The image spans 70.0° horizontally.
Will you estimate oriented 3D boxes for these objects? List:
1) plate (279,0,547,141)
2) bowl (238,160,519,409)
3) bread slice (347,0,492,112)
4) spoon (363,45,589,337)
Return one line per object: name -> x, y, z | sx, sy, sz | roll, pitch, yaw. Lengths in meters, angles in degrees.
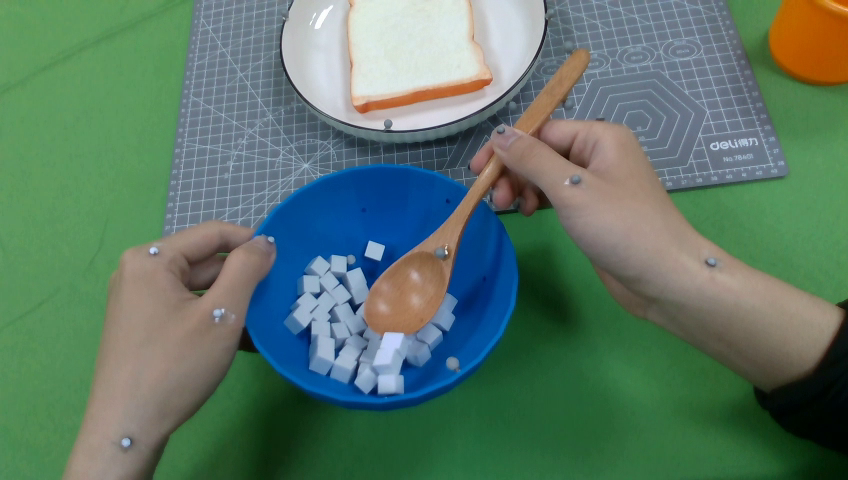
plate -> -0.009, -0.162, 0.481 | 0.209, 0.038, 0.207 | -3, 65, 7
bowl -> -0.024, 0.035, 0.356 | 0.151, 0.077, 0.150 | 0, 57, 0
bread slice -> -0.013, -0.165, 0.486 | 0.107, 0.018, 0.133 | -13, 66, 3
spoon -> 0.032, -0.028, 0.331 | 0.041, 0.022, 0.194 | 38, 94, 28
